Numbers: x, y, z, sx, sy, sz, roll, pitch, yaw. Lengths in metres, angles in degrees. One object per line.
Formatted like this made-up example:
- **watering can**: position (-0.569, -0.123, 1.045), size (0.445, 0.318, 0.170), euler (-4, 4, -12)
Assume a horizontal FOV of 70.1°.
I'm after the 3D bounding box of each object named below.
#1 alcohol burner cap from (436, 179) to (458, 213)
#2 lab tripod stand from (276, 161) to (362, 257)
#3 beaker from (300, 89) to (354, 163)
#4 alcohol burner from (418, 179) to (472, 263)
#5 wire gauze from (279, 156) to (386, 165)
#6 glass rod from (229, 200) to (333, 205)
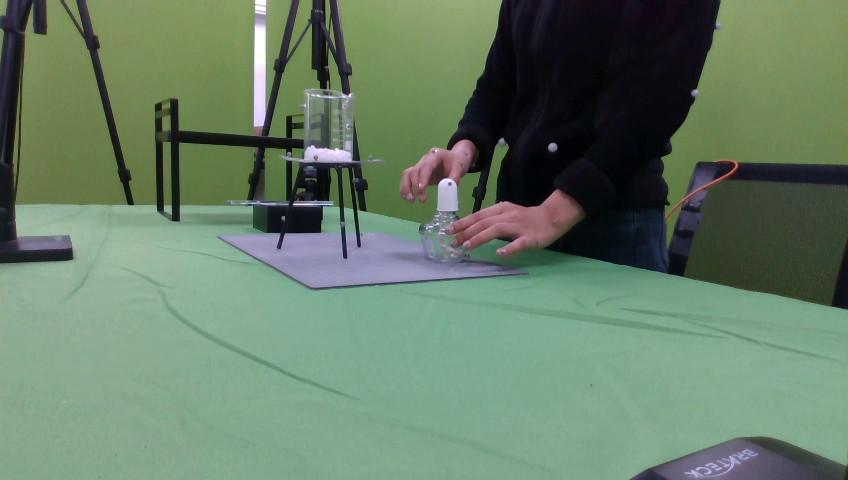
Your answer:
- **alcohol burner cap**: position (0.033, -0.063, 0.855), size (0.034, 0.048, 0.034), euler (0, 12, 0)
- **lab tripod stand**: position (-0.143, -0.049, 0.884), size (0.148, 0.131, 0.148), euler (2, 9, 0)
- **beaker**: position (-0.137, -0.161, 0.868), size (0.083, 0.100, 0.074), euler (9, 10, 42)
- **alcohol burner**: position (0.031, -0.028, 0.860), size (0.078, 0.119, 0.078), euler (4, 5, 0)
- **wire gauze**: position (-0.134, -0.113, 0.875), size (0.122, 0.011, 0.124), euler (-1, 6, -30)
- **glass rod**: position (-0.265, -0.071, 1.144), size (0.201, 0.008, 0.008), euler (-1, 8, -31)
